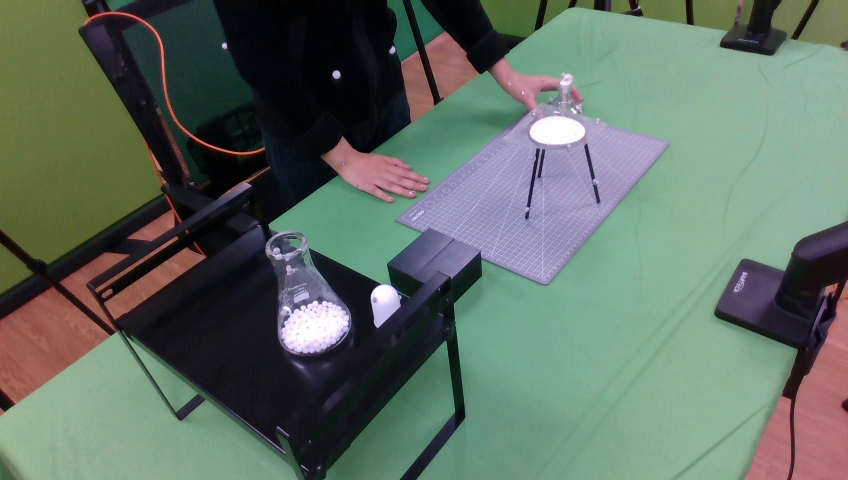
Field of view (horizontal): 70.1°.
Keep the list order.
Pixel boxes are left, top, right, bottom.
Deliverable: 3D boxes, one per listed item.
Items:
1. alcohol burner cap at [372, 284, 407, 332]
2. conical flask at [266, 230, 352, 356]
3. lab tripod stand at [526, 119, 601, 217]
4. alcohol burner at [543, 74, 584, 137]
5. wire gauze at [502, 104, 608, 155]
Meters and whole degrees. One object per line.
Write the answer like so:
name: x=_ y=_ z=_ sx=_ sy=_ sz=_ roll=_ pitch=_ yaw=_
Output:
alcohol burner cap: x=-0.036 y=0.066 z=0.608 sx=0.034 sy=0.048 sz=0.033 roll=-5 pitch=38 yaw=5
conical flask: x=-0.116 y=0.047 z=0.580 sx=0.075 sy=0.122 sz=0.075 roll=-5 pitch=40 yaw=4
lab tripod stand: x=0.221 y=-0.121 z=0.994 sx=0.148 sy=0.132 sz=0.147 roll=-3 pitch=39 yaw=3
alcohol burner: x=0.270 y=-0.263 z=1.169 sx=0.078 sy=0.119 sz=0.077 roll=-6 pitch=39 yaw=5
wire gauze: x=0.207 y=-0.173 z=0.952 sx=0.120 sy=0.011 sz=0.125 roll=24 pitch=48 yaw=31
